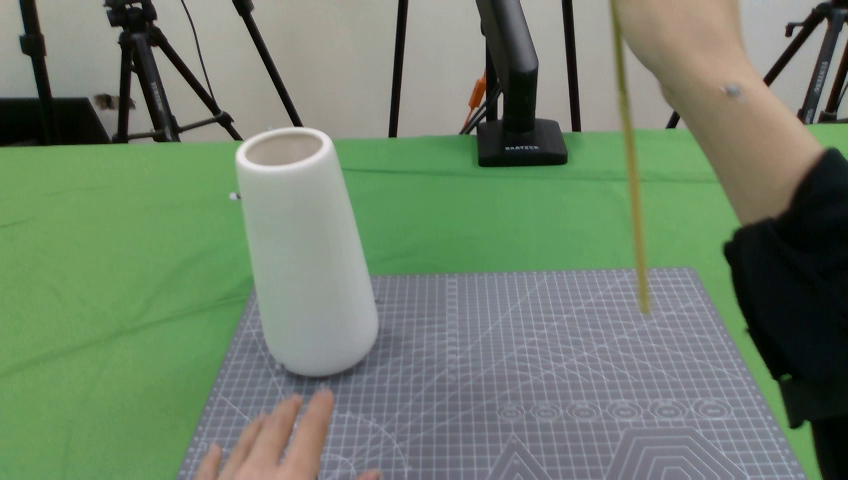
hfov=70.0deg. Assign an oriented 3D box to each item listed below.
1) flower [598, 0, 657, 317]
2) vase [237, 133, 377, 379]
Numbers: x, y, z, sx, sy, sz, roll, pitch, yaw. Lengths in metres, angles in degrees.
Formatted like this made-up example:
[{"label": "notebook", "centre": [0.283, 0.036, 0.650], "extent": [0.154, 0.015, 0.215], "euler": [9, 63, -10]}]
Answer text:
[{"label": "flower", "centre": [0.106, -0.125, 0.347], "extent": [0.038, 0.363, 0.044], "euler": [-6, 13, 30]}, {"label": "vase", "centre": [-0.093, 0.018, 0.490], "extent": [0.098, 0.201, 0.097], "euler": [-2, 34, 1]}]
